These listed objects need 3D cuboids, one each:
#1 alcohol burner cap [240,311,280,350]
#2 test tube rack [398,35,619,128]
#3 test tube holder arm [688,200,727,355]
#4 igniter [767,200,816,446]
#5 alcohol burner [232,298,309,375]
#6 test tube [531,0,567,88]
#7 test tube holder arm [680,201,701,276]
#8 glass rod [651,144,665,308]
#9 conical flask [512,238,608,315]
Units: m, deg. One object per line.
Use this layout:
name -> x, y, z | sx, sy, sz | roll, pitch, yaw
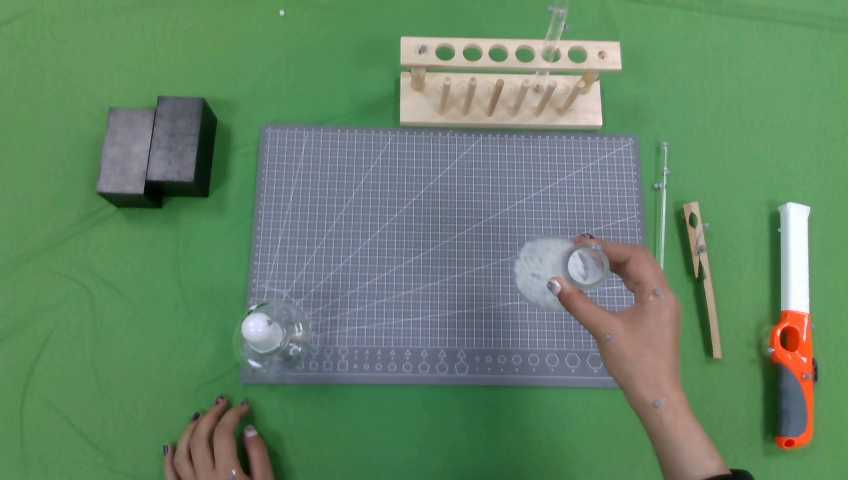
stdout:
alcohol burner cap -> -0.155, 0.082, 0.565 | 0.034, 0.048, 0.033 | 1, 67, -2
test tube rack -> 0.092, -0.180, 0.699 | 0.242, 0.085, 0.066 | 1, 76, -3
test tube holder arm -> 0.320, 0.041, 0.687 | 0.013, 0.015, 0.177 | -16, 74, 31
igniter -> 0.410, 0.089, 0.677 | 0.057, 0.025, 0.275 | 11, 76, -10
alcohol burner -> -0.156, 0.093, 0.600 | 0.078, 0.119, 0.077 | 0, 74, -1
test tube -> 0.134, -0.210, 0.657 | 0.017, 0.151, 0.017 | 0, 73, 1
test tube holder arm -> 0.310, -0.001, 0.700 | 0.010, 0.015, 0.087 | -14, 74, 31
glass rod -> 0.273, -0.019, 0.706 | 0.008, 0.008, 0.199 | 8, 78, -1
conical flask -> 0.125, 0.029, 0.538 | 0.075, 0.122, 0.075 | 0, 83, -3
